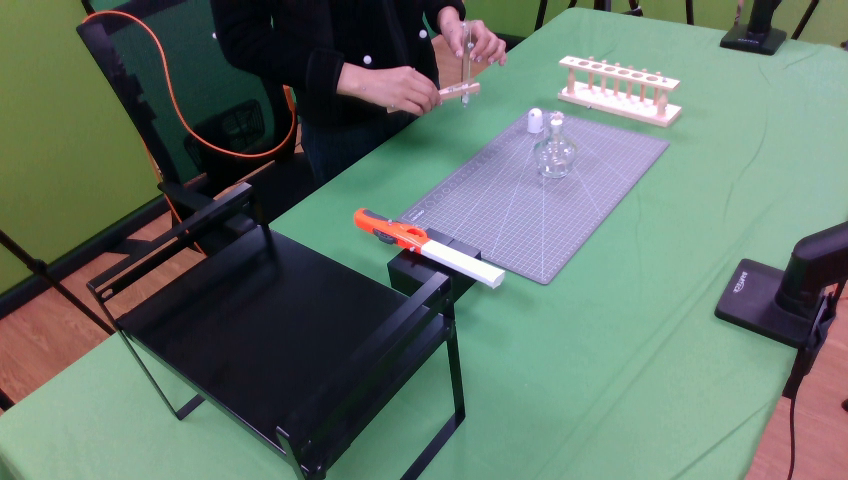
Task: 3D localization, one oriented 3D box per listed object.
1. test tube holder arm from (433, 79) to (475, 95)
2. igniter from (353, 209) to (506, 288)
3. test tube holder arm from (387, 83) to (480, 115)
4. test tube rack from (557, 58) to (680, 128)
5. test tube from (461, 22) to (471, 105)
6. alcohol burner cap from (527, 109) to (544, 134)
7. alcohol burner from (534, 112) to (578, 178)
[{"bbox_3d":[0.055,-0.274,1.104,0.088,0.015,0.010,-26,42,-24],"label":"test tube holder arm"},{"bbox_3d":[-0.003,0.006,0.892,0.274,0.025,0.057,24,37,31],"label":"igniter"},{"bbox_3d":[0.018,-0.255,1.086,0.179,0.015,0.013,-19,39,-16],"label":"test tube holder arm"},{"bbox_3d":[0.395,-0.309,1.230,0.240,0.085,0.067,25,50,33],"label":"test tube rack"},{"bbox_3d":[0.075,-0.314,1.084,0.017,0.151,0.017,-1,37,1],"label":"test tube"},{"bbox_3d":[0.222,-0.238,1.203,0.034,0.048,0.033,-5,41,5],"label":"alcohol burner cap"},{"bbox_3d":[0.232,-0.170,1.065,0.078,0.119,0.077,-5,39,5],"label":"alcohol burner"}]
